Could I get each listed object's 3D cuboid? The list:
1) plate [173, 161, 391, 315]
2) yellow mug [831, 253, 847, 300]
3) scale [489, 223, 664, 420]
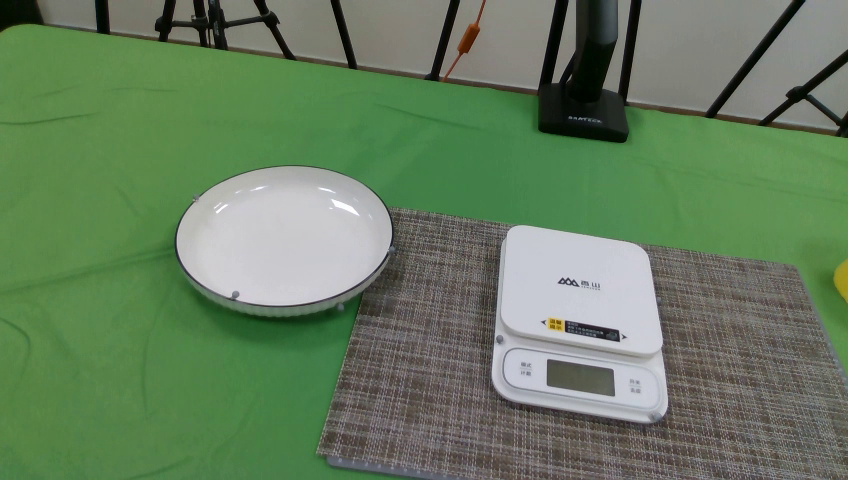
[{"bbox_3d":[-0.137,-0.003,0.606,0.209,0.038,0.207,4,44,-3],"label":"plate"},{"bbox_3d":[0.498,0.041,0.614,0.100,0.064,0.129,-25,52,-28],"label":"yellow mug"},{"bbox_3d":[0.140,0.066,0.565,0.148,0.032,0.199,9,44,3],"label":"scale"}]
